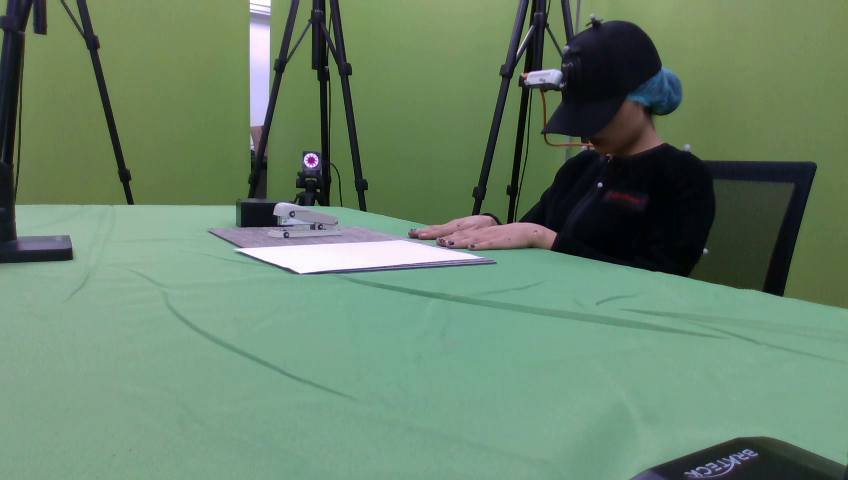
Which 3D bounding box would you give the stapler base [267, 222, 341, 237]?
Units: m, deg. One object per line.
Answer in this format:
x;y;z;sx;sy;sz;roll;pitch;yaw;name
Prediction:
-0.208;-0.020;1.057;0.131;0.024;0.041;-2;12;-41;stapler base

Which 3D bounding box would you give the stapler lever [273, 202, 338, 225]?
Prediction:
-0.206;-0.045;1.055;0.119;0.040;0.026;-2;12;-41;stapler lever
